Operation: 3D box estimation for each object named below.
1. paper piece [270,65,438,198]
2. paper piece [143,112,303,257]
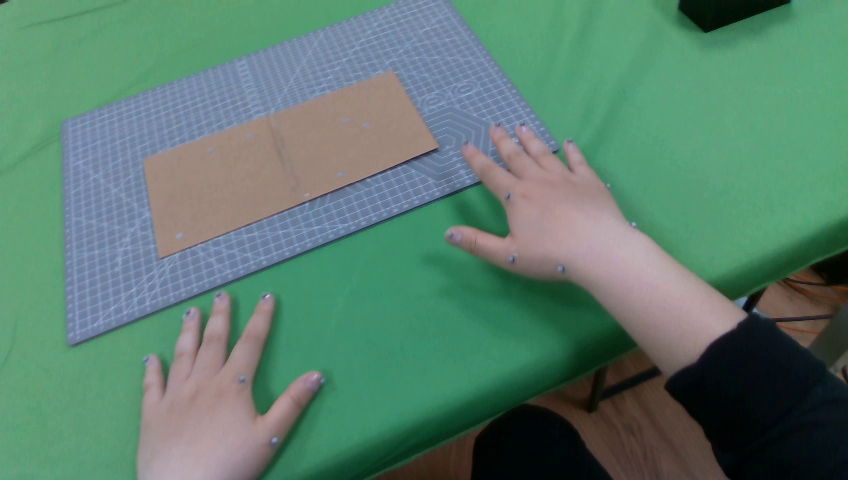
[{"bbox_3d":[-0.073,-0.112,0.592,0.135,0.004,0.134,-23,54,-6],"label":"paper piece"},{"bbox_3d":[-0.195,-0.059,0.577,0.138,0.009,0.134,-23,51,-6],"label":"paper piece"}]
